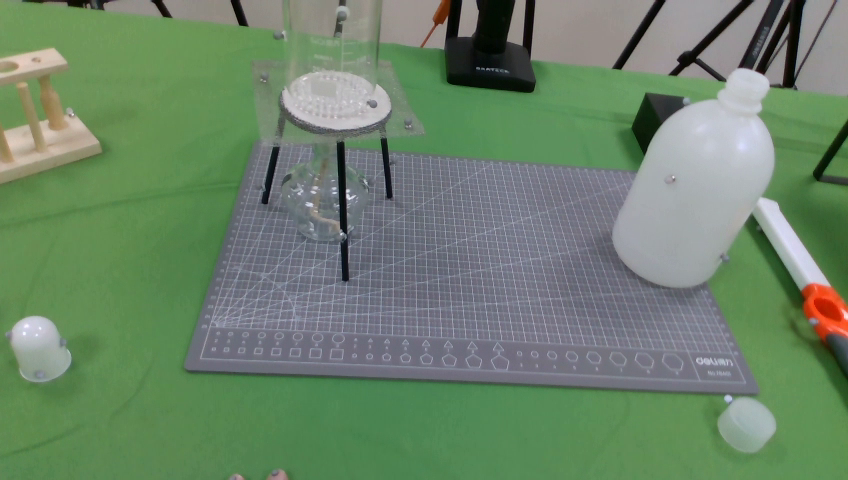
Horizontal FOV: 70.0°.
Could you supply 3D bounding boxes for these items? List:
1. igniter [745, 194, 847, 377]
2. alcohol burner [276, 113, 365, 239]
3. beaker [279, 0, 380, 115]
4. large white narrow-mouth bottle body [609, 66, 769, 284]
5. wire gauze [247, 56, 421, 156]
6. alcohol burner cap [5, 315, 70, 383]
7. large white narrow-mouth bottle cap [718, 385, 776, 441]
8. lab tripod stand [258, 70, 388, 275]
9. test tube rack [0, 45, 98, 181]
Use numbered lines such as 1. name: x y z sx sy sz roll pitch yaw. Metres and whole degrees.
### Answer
1. igniter: 0.368 0.050 0.571 0.057 0.025 0.273 13 41 -13
2. alcohol burner: -0.090 -0.060 0.532 0.078 0.120 0.077 7 41 -6
3. beaker: -0.073 -0.152 0.450 0.084 0.101 0.073 -1 45 -12
4. large white narrow-mouth bottle body: 0.239 -0.058 0.533 0.102 0.196 0.101 5 43 -4
5. wire gauze: -0.075 -0.114 0.482 0.122 0.011 0.123 -7 49 -15
6. alcohol burner cap: -0.266 0.072 0.415 0.034 0.048 0.033 7 42 -6
7. large white narrow-mouth bottle cap: 0.247 0.133 0.464 0.038 0.024 0.037 5 43 -4
8. lab tripod stand: -0.079 -0.064 0.525 0.149 0.132 0.147 7 43 -6
9. test tube rack: -0.430 -0.090 0.524 0.242 0.086 0.066 -28 55 -34
